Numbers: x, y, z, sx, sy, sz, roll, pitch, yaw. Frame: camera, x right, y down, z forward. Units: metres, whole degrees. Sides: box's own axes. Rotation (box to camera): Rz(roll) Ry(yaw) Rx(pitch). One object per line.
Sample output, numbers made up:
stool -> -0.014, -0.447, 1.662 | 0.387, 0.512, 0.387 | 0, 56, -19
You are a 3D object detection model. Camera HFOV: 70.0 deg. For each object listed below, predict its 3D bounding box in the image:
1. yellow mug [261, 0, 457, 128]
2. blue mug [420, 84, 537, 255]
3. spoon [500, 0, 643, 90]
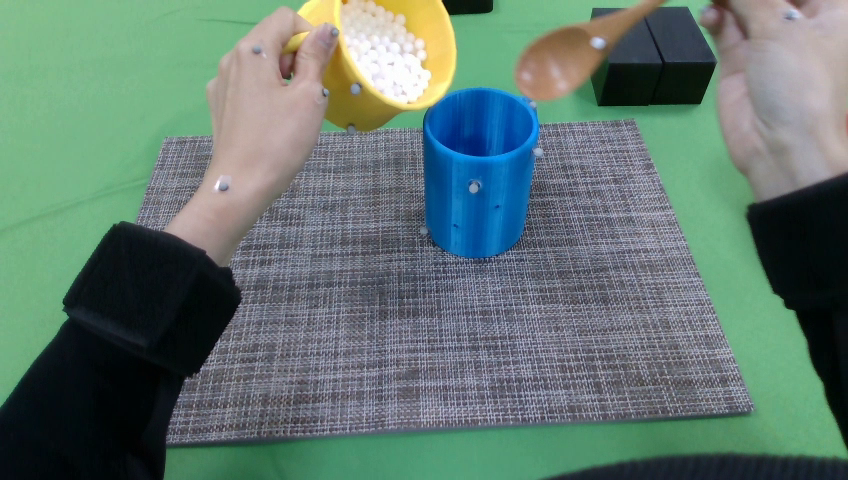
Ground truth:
yellow mug -> -0.047, -0.130, 0.410 | 0.131, 0.100, 0.063 | -18, 7, -38
blue mug -> 0.050, -0.061, 0.471 | 0.081, 0.107, 0.116 | 34, 58, 25
spoon -> 0.126, -0.140, 0.340 | 0.021, 0.193, 0.042 | -35, 100, -51
